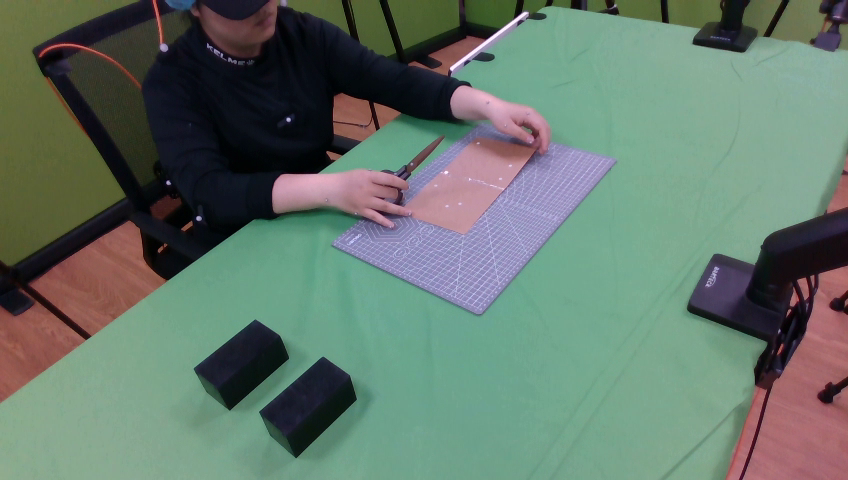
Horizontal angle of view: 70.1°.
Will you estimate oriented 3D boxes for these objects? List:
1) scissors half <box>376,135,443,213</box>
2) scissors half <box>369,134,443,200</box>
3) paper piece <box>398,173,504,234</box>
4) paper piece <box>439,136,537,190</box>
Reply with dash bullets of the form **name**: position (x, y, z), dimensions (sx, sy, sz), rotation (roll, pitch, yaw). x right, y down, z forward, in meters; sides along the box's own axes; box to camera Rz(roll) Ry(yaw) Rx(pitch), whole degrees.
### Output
- **scissors half**: position (-0.023, -0.111, 1.023), dimensions (0.013, 0.175, 0.039), rotation (12, 33, -52)
- **scissors half**: position (-0.033, -0.126, 1.032), dimensions (0.174, 0.013, 0.040), rotation (-35, 68, 27)
- **paper piece**: position (0.047, -0.068, 1.049), dimensions (0.135, 0.004, 0.135), rotation (20, 48, 29)
- **paper piece**: position (0.121, -0.147, 1.128), dimensions (0.135, 0.009, 0.138), rotation (20, 51, 28)
